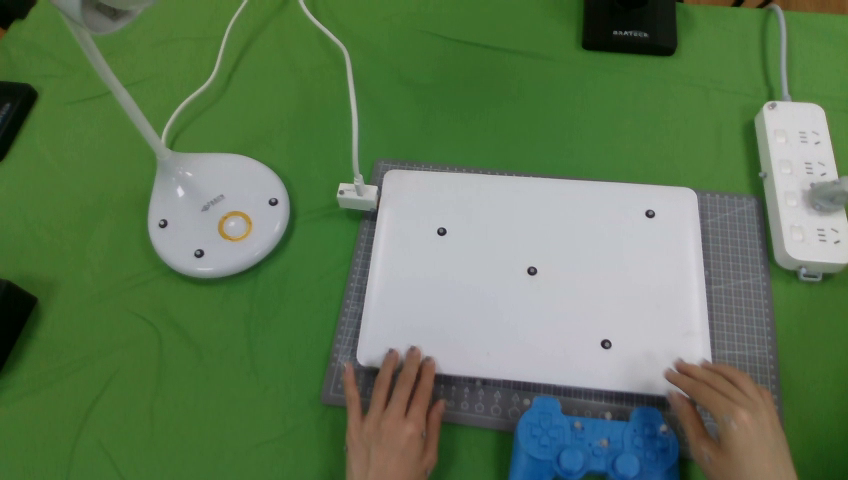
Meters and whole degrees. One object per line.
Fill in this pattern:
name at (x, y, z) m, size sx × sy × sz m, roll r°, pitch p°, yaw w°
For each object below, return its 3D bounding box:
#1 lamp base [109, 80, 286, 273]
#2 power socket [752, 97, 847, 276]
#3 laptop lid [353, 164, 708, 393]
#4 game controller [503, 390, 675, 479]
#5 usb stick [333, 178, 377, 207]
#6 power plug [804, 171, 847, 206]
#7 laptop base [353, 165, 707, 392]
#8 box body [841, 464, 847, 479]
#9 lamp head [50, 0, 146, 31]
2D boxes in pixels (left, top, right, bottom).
lamp base at (-0.254, -0.076, 0.636) m, size 0.178 × 0.182 × 0.160 m, roll 32°, pitch 69°, yaw 20°
power socket at (0.419, -0.069, 0.680) m, size 0.072 × 0.033 × 0.225 m, roll 6°, pitch 64°, yaw 4°
laptop lid at (0.112, 0.030, 0.642) m, size 0.356 × 0.013 × 0.240 m, roll 6°, pitch 67°, yaw 6°
game controller at (0.154, 0.192, 0.559) m, size 0.155 × 0.052 × 0.096 m, roll 5°, pitch 62°, yaw 5°
usb stick at (-0.072, -0.053, 0.691) m, size 0.059 × 0.027 × 0.021 m, roll 8°, pitch 59°, yaw 3°
power plug at (0.444, -0.048, 0.643) m, size 0.072 × 0.053 × 0.035 m, roll 16°, pitch 65°, yaw 9°
laptop base at (0.113, 0.033, 0.654) m, size 0.354 × 0.023 × 0.234 m, roll 4°, pitch 68°, yaw 5°
box body at (0.562, 0.149, 0.495) m, size 0.252 × 0.161 × 0.363 m, roll 38°, pitch 72°, yaw 19°
lamp head at (-0.219, -0.204, 0.358) m, size 0.123 × 0.112 × 0.112 m, roll 33°, pitch 68°, yaw -8°
